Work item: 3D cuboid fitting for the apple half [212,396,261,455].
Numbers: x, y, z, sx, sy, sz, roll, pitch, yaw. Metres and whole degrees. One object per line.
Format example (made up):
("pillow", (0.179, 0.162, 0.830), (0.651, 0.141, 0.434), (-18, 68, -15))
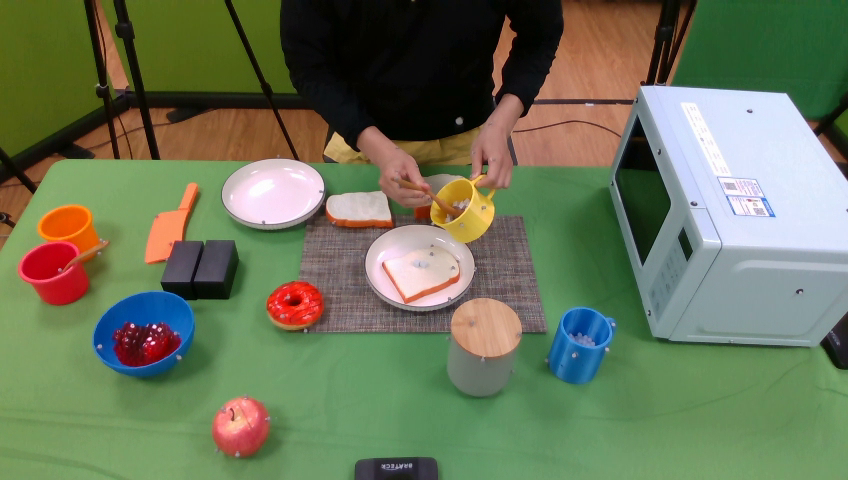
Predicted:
("apple half", (-0.276, 0.276, 0.877), (0.053, 0.075, 0.080), (-29, 58, -21))

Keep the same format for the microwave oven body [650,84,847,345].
("microwave oven body", (0.569, -0.054, 1.116), (0.326, 0.261, 0.439), (2, 46, -1))

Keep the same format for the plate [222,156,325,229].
("plate", (-0.308, -0.094, 1.251), (0.209, 0.038, 0.208), (2, 46, -2))

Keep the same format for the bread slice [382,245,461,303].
("bread slice", (0.000, 0.054, 1.128), (0.132, 0.019, 0.104), (-20, 51, -21))

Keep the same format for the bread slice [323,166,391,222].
("bread slice", (-0.140, -0.092, 1.224), (0.134, 0.018, 0.106), (-19, 51, 6))

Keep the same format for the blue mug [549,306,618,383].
("blue mug", (0.269, 0.167, 0.997), (0.116, 0.106, 0.082), (-19, 51, -21))

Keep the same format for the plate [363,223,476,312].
("plate", (-0.009, 0.054, 1.126), (0.208, 0.039, 0.206), (2, 46, -2))

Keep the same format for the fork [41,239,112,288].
("fork", (-0.591, 0.040, 1.028), (0.207, 0.019, 0.028), (-27, 37, 29))

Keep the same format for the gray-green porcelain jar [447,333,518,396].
("gray-green porcelain jar", (0.091, 0.178, 0.960), (0.106, 0.127, 0.105), (2, 46, -2))

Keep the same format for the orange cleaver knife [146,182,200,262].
("orange cleaver knife", (-0.494, -0.039, 1.198), (0.077, 0.012, 0.210), (-3, 48, 1))

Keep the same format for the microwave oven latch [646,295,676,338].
("microwave oven latch", (0.413, 0.133, 1.060), (0.030, 0.029, 0.078), (4, 46, 1))

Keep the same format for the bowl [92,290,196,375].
("bowl", (-0.436, 0.161, 0.971), (0.151, 0.077, 0.150), (2, 46, -2))

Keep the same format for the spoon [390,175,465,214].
("spoon", (0.008, -0.078, 1.046), (0.041, 0.195, 0.021), (18, 84, 44))

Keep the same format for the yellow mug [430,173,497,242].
("yellow mug", (0.080, -0.067, 1.088), (0.131, 0.064, 0.099), (-48, 38, 5))

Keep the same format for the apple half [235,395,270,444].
("apple half", (-0.245, 0.259, 0.893), (0.033, 0.082, 0.081), (-29, 55, -22))

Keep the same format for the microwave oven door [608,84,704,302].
("microwave oven door", (0.424, -0.096, 1.138), (0.039, 0.245, 0.353), (2, 47, -1))

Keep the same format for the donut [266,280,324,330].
("donut", (-0.223, 0.113, 1.051), (0.099, 0.048, 0.098), (2, 45, -2))

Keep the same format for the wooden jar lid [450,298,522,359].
("wooden jar lid", (0.093, 0.135, 0.914), (0.108, 0.021, 0.107), (3, 48, -3))
